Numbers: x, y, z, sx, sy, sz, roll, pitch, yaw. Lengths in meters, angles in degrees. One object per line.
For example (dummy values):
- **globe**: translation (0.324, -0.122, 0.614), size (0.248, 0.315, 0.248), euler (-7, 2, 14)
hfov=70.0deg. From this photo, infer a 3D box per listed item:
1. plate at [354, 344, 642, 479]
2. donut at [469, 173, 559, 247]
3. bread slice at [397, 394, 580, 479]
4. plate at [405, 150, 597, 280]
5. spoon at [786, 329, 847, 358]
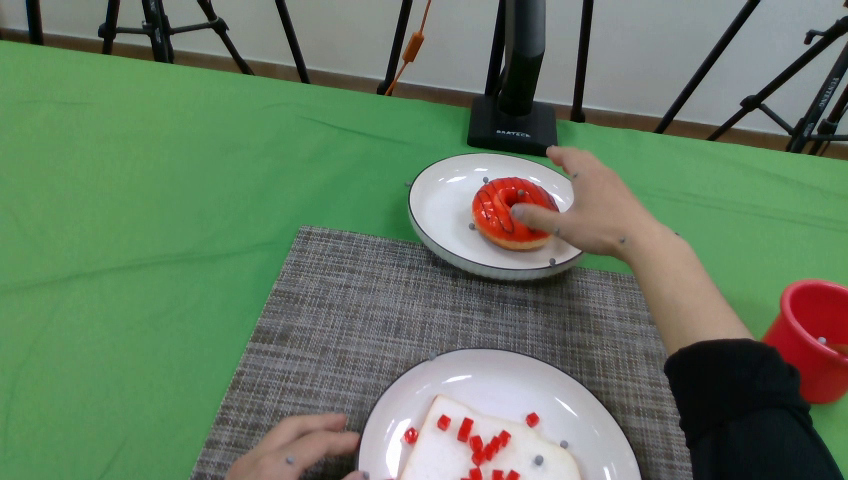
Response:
- **plate**: translation (0.053, 0.171, 0.448), size (0.209, 0.038, 0.207), euler (4, 43, -3)
- **donut**: translation (0.097, -0.032, 0.655), size (0.099, 0.048, 0.098), euler (4, 44, -4)
- **bread slice**: translation (0.050, 0.174, 0.448), size (0.131, 0.019, 0.104), euler (16, 44, 12)
- **plate**: translation (0.082, -0.027, 0.664), size (0.208, 0.039, 0.205), euler (5, 41, -4)
- **spoon**: translation (0.345, 0.092, 0.501), size (0.041, 0.021, 0.194), euler (23, 1, 16)
